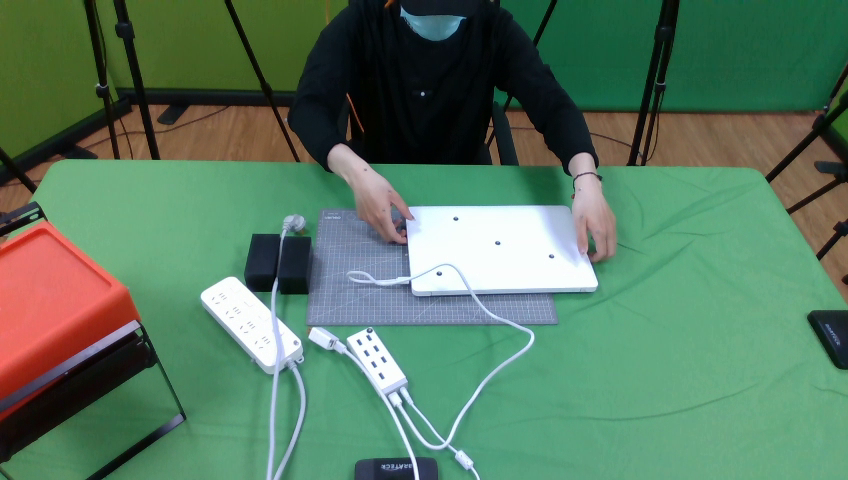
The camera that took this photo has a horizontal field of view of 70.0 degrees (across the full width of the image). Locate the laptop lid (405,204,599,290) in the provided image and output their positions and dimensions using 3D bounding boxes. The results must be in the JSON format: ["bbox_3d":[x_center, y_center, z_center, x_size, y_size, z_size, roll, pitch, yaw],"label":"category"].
[{"bbox_3d":[0.144,0.008,1.188,0.357,0.013,0.240,0,44,-5],"label":"laptop lid"}]

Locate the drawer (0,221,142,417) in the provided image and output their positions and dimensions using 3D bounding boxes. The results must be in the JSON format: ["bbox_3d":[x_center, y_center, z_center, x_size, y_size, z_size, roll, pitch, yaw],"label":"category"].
[{"bbox_3d":[-0.516,0.095,0.780,0.193,0.073,0.211,32,53,23],"label":"drawer"}]

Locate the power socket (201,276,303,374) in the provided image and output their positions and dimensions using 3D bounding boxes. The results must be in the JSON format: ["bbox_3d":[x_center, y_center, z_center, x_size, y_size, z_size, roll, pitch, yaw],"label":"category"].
[{"bbox_3d":[-0.296,0.141,1.034,0.072,0.033,0.225,-35,58,-31],"label":"power socket"}]

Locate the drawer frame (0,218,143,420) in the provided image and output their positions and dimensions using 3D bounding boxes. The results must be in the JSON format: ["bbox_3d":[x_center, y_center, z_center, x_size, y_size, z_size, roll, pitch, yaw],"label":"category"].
[{"bbox_3d":[-0.518,0.096,0.777,0.201,0.083,0.213,30,52,22],"label":"drawer frame"}]

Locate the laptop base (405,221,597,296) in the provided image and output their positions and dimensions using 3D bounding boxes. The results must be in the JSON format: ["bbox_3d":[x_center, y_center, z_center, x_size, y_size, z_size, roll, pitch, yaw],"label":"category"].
[{"bbox_3d":[0.143,0.019,1.197,0.355,0.023,0.234,-1,44,-6],"label":"laptop base"}]

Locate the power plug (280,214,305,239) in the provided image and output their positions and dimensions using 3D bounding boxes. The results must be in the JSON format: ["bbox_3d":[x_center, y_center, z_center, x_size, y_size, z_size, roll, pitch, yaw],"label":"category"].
[{"bbox_3d":[-0.261,-0.020,1.185,0.035,0.053,0.072,12,57,32],"label":"power plug"}]

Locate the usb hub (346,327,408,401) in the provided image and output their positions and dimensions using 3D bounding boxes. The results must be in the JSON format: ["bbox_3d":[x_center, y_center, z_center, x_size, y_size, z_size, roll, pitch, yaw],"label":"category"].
[{"bbox_3d":[-0.078,0.202,0.998,0.049,0.025,0.124,-23,53,-24],"label":"usb hub"}]

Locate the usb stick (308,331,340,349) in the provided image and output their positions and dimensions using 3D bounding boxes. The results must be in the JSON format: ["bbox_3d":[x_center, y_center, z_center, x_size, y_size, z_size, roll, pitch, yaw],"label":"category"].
[{"bbox_3d":[-0.174,0.167,1.023,0.059,0.027,0.021,10,88,24],"label":"usb stick"}]

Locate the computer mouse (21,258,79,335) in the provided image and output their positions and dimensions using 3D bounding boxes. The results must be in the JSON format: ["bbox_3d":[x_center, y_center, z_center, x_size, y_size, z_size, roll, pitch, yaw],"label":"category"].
[{"bbox_3d":[-0.505,0.073,0.819,0.063,0.041,0.116,-6,57,-19],"label":"computer mouse"}]
